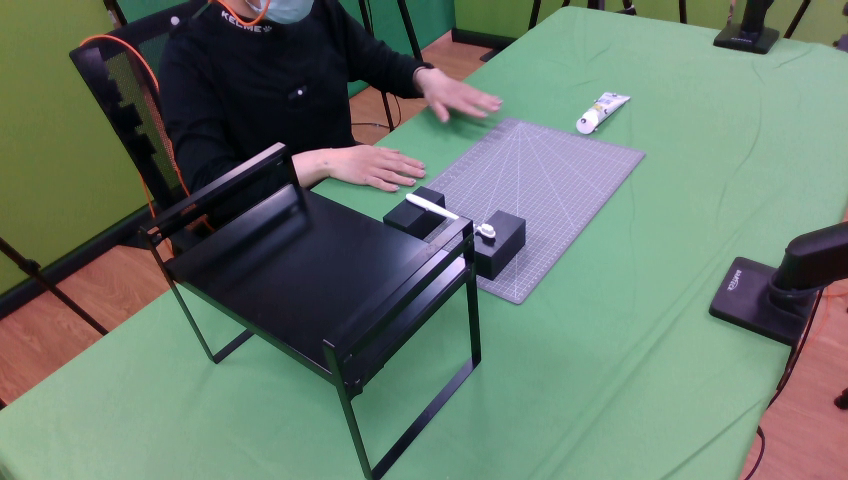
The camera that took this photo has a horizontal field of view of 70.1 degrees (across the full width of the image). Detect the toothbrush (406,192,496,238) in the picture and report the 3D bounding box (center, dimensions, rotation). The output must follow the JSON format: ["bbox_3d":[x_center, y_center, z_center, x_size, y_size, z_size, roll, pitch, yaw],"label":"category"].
[{"bbox_3d":[0.038,-0.043,0.937,0.180,0.017,0.014,26,64,35],"label":"toothbrush"}]

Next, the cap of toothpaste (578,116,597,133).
[{"bbox_3d":[0.316,-0.225,1.172,0.037,0.037,0.011,15,45,24],"label":"cap of toothpaste"}]

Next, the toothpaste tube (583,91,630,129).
[{"bbox_3d":[0.364,-0.266,1.223,0.054,0.034,0.165,25,46,24],"label":"toothpaste tube"}]
